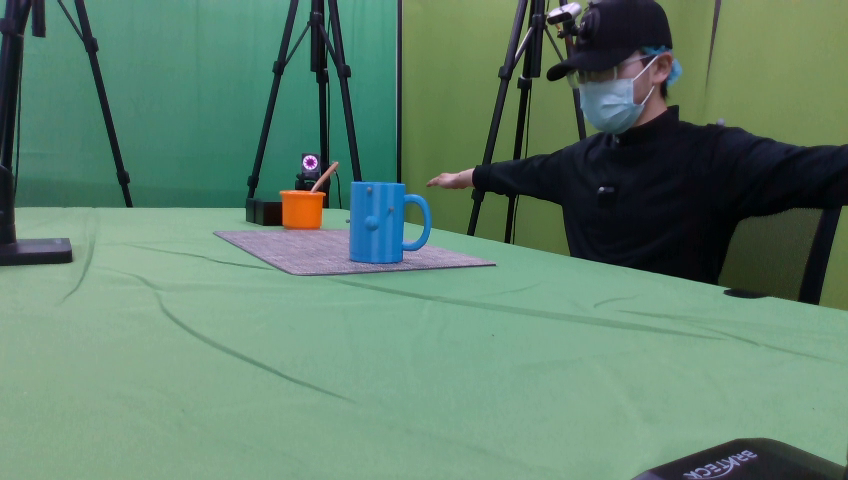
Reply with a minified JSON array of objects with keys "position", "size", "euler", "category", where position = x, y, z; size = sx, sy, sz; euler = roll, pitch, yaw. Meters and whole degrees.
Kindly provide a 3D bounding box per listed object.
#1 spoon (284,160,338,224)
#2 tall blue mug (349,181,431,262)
[{"position":[-0.228,-0.101,1.251],"size":[0.041,0.194,0.022],"euler":[6,-37,35],"category":"spoon"},{"position":[-0.051,-0.028,0.849],"size":[0.108,0.108,0.077],"euler":[-1,7,-22],"category":"tall blue mug"}]
